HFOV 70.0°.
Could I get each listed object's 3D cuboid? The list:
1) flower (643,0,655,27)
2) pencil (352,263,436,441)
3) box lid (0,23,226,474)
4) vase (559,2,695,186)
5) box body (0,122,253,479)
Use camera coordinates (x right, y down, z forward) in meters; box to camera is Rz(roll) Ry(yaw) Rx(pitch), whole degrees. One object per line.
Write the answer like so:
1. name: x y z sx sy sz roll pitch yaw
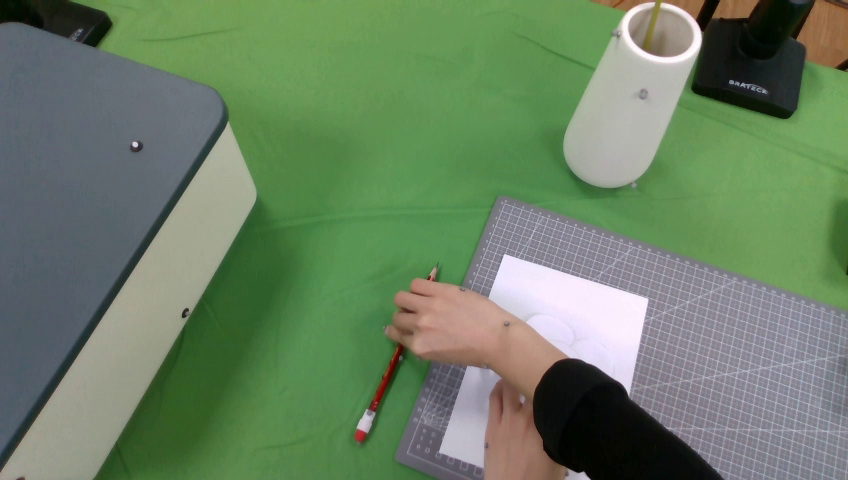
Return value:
1. flower: 0.195 -0.186 0.535 0.044 0.365 0.038 12 48 10
2. pencil: -0.025 0.105 0.599 0.012 0.012 0.193 21 67 10
3. box lid: -0.353 -0.015 0.487 0.262 0.015 0.369 20 67 8
4. vase: 0.197 -0.138 0.605 0.098 0.201 0.097 0 64 1
5. box body: -0.352 0.019 0.555 0.253 0.161 0.362 19 67 9
